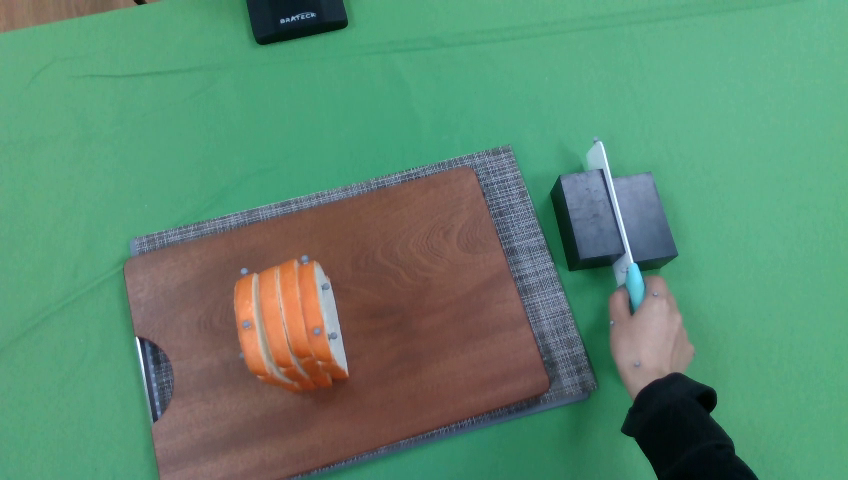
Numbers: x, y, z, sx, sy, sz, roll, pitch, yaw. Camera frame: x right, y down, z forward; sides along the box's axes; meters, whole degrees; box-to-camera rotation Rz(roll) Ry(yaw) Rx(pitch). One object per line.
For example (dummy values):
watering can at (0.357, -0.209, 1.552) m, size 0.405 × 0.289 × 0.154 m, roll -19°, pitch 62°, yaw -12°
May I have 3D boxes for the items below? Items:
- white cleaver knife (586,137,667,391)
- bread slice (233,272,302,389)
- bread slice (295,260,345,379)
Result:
white cleaver knife at (0.219, 0.021, 0.667) m, size 0.021 × 0.066 × 0.284 m, roll -9°, pitch 74°, yaw 2°
bread slice at (-0.148, 0.085, 0.574) m, size 0.019 × 0.132 × 0.104 m, roll -15°, pitch 72°, yaw 0°
bread slice at (-0.099, 0.077, 0.575) m, size 0.018 × 0.135 × 0.106 m, roll -13°, pitch 77°, yaw -6°
